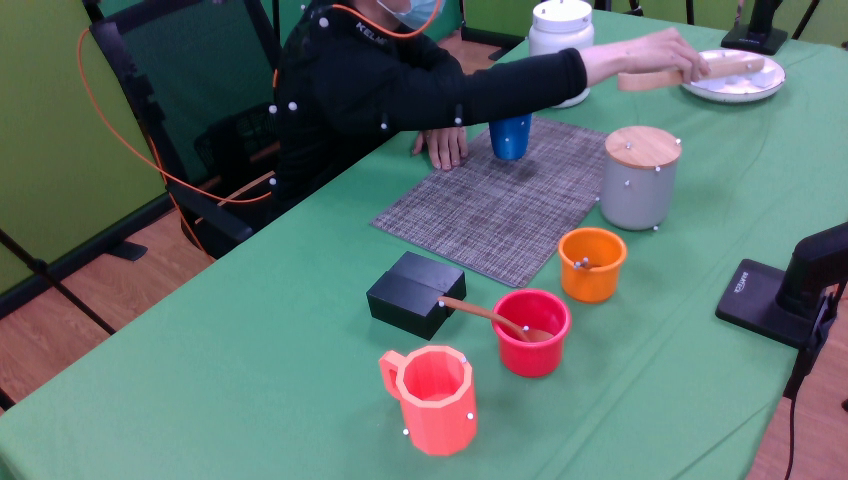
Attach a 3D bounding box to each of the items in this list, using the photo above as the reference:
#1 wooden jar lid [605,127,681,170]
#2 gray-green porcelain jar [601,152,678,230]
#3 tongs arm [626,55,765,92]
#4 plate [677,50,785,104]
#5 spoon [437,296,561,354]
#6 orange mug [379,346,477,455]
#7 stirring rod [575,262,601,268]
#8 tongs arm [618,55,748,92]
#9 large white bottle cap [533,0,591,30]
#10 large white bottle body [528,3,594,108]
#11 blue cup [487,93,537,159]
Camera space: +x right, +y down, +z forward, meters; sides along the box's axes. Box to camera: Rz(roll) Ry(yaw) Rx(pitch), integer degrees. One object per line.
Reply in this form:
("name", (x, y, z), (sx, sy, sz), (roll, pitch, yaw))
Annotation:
("wooden jar lid", (0.327, -0.134, 0.909), (0.108, 0.021, 0.108), (-2, 43, 2))
("gray-green porcelain jar", (0.335, -0.087, 0.949), (0.106, 0.127, 0.105), (-4, 40, 4))
("tongs arm", (0.494, -0.297, 1.068), (0.390, 0.028, 0.028), (-17, 28, -31))
("plate", (0.632, -0.336, 1.262), (0.207, 0.039, 0.206), (-4, 40, 4))
("spoon", (0.096, 0.102, 0.750), (0.195, 0.021, 0.041), (28, 31, -28))
("orange mug", (0.002, 0.179, 0.708), (0.125, 0.101, 0.083), (25, 50, 27))
("stirring rod", (0.223, 0.034, 0.816), (0.014, 0.006, 0.177), (8, 1, 22))
("tongs arm", (0.481, -0.303, 1.085), (0.387, 0.026, 0.050), (-15, 24, -27))
("large white bottle cap", (0.275, -0.449, 1.204), (0.115, 0.018, 0.114), (-3, 41, 3))
("large white bottle body", (0.283, -0.385, 1.259), (0.130, 0.185, 0.130), (-4, 41, 4))
("blue cup", (0.161, -0.209, 1.129), (0.092, 0.100, 0.092), (-3, 39, 3))
